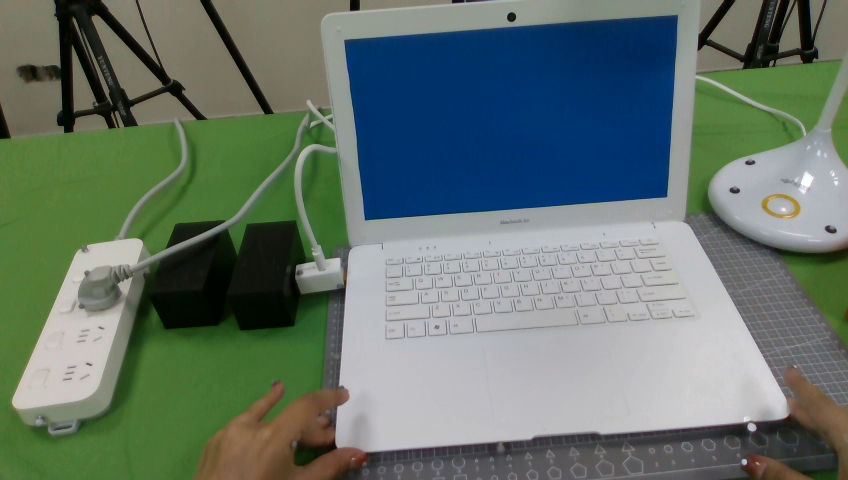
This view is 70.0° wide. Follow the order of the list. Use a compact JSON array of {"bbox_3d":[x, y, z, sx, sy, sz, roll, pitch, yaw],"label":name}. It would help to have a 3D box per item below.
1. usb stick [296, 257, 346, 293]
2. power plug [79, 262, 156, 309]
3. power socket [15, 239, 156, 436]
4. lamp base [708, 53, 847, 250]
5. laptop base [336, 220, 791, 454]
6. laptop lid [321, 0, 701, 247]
[{"bbox_3d":[-0.093,0.034,0.595,0.059,0.027,0.021,-5,43,-1],"label":"usb stick"},{"bbox_3d":[-0.285,0.050,0.567,0.072,0.053,0.035,-1,41,5],"label":"power plug"},{"bbox_3d":[-0.311,0.077,0.573,0.072,0.033,0.224,-7,40,-4],"label":"power socket"},{"bbox_3d":[0.393,-0.109,0.610,0.159,0.182,0.179,21,43,28],"label":"lamp base"},{"bbox_3d":[0.103,0.075,0.549,0.354,0.023,0.233,-4,44,0],"label":"laptop base"},{"bbox_3d":[0.088,-0.111,0.595,0.357,0.243,0.013,-6,21,0],"label":"laptop lid"}]
